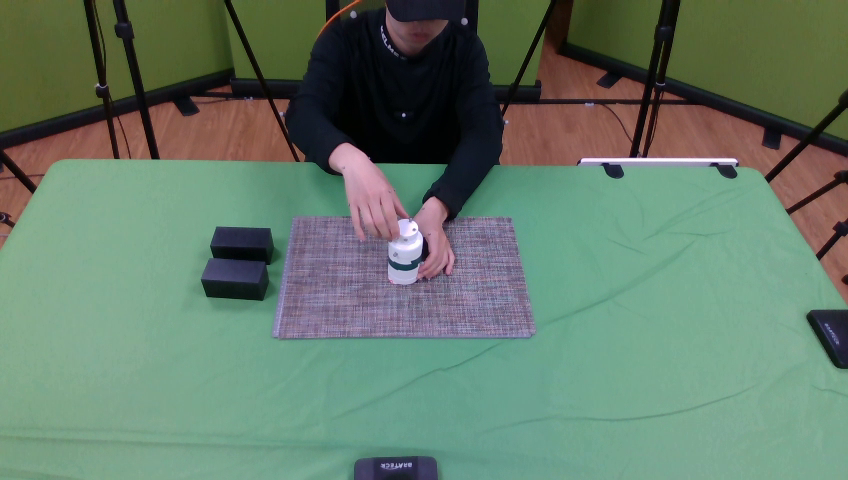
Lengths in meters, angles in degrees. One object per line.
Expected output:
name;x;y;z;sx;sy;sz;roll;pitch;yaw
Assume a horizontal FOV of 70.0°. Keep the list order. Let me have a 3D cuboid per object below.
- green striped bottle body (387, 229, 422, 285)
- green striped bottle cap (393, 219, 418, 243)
green striped bottle body;-0.036;0.021;1.103;0.063;0.120;0.063;2;46;-2
green striped bottle cap;-0.033;-0.016;1.063;0.044;0.020;0.044;1;46;-1
